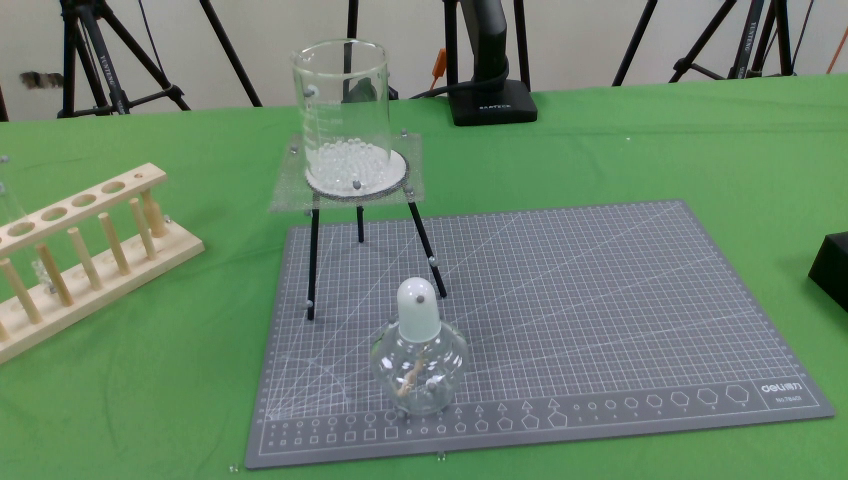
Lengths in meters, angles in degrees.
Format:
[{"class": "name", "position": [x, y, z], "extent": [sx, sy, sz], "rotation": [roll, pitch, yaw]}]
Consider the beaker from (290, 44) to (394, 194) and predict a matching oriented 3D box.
[{"class": "beaker", "position": [-0.064, -0.095, 0.481], "extent": [0.083, 0.101, 0.074], "rotation": [24, 43, 28]}]

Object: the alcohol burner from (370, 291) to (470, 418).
[{"class": "alcohol burner", "position": [-0.003, 0.079, 0.458], "extent": [0.078, 0.120, 0.077], "rotation": [-1, 39, 1]}]

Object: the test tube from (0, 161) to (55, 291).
[{"class": "test tube", "position": [-0.363, -0.016, 0.543], "extent": [0.017, 0.151, 0.017], "rotation": [-3, 33, 2]}]

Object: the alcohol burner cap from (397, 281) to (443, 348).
[{"class": "alcohol burner cap", "position": [-0.003, 0.050, 0.436], "extent": [0.034, 0.048, 0.033], "rotation": [-4, 38, 3]}]

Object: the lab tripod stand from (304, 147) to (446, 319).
[{"class": "lab tripod stand", "position": [-0.051, -0.007, 0.556], "extent": [0.148, 0.132, 0.147], "rotation": [0, 37, 0]}]

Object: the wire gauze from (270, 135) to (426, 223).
[{"class": "wire gauze", "position": [-0.061, -0.058, 0.513], "extent": [0.121, 0.011, 0.124], "rotation": [-2, 40, -1]}]

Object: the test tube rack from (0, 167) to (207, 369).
[{"class": "test tube rack", "position": [-0.338, 0.026, 0.570], "extent": [0.066, 0.086, 0.242], "rotation": [27, 46, 33]}]
